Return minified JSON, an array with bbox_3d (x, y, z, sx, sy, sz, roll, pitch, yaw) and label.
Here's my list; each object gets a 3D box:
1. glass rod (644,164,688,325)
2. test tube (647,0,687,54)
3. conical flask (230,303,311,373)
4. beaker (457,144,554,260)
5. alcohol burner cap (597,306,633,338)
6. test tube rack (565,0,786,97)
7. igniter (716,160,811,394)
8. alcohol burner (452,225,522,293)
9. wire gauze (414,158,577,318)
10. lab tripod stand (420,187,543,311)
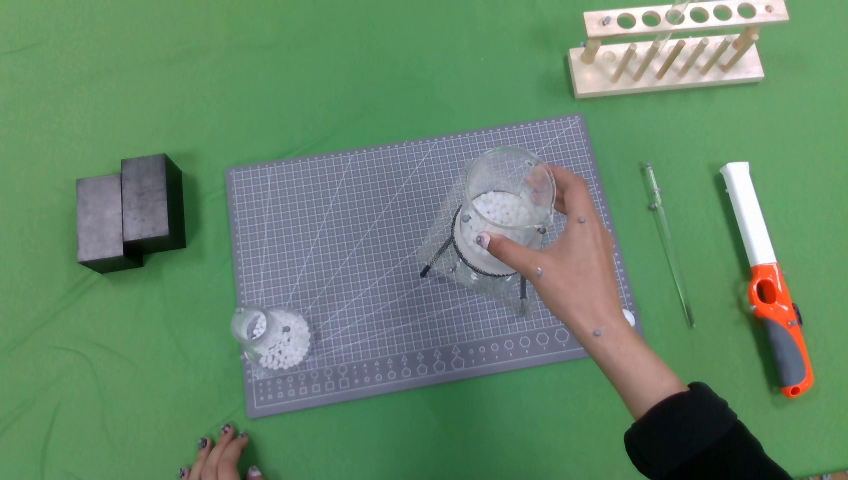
[{"bbox_3d":[0.287,0.003,0.720,0.008,0.008,0.198,-8,77,-3],"label":"glass rod"},{"bbox_3d":[0.289,-0.264,0.705,0.017,0.151,0.017,-1,74,2],"label":"test tube"},{"bbox_3d":[-0.163,0.095,0.626,0.075,0.122,0.075,0,73,0],"label":"conical flask"},{"bbox_3d":[0.069,-0.027,0.532,0.083,0.101,0.074,42,75,11],"label":"beaker"},{"bbox_3d":[0.215,0.089,0.673,0.034,0.048,0.033,0,73,-1],"label":"alcohol burner cap"},{"bbox_3d":[0.307,-0.238,0.749,0.242,0.085,0.066,-6,73,-2],"label":"test tube rack"},{"bbox_3d":[0.391,0.037,0.701,0.057,0.025,0.275,-5,74,-13],"label":"igniter"},{"bbox_3d":[0.069,0.017,0.656,0.078,0.119,0.077,0,75,1],"label":"alcohol burner"},{"bbox_3d":[0.069,-0.007,0.582,0.125,0.011,0.121,26,76,7],"label":"wire gauze"},{"bbox_3d":[0.067,0.010,0.647,0.148,0.132,0.147,0,75,1],"label":"lab tripod stand"}]
